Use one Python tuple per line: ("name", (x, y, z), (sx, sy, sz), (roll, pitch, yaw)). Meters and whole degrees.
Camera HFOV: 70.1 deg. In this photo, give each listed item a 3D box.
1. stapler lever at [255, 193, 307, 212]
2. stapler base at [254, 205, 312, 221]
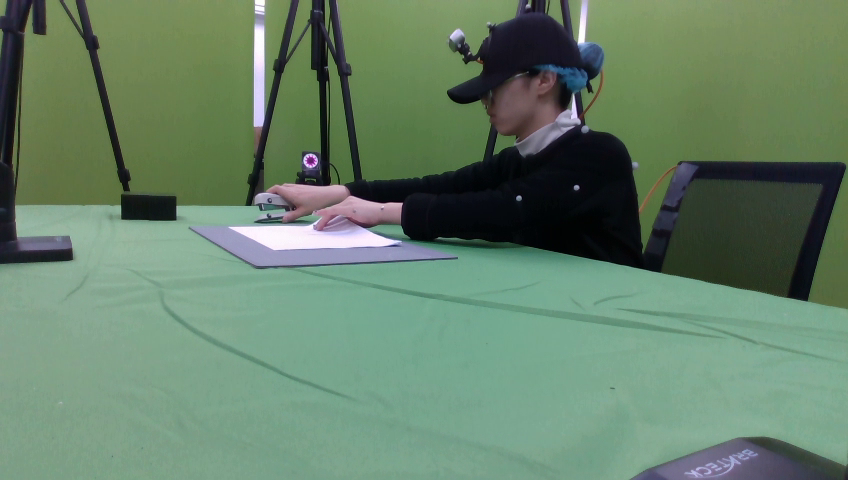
("stapler lever", (-0.309, -0.084, 1.304), (0.026, 0.040, 0.119), (-13, -2, 43))
("stapler base", (-0.304, -0.060, 1.301), (0.041, 0.024, 0.131), (-13, -3, 43))
